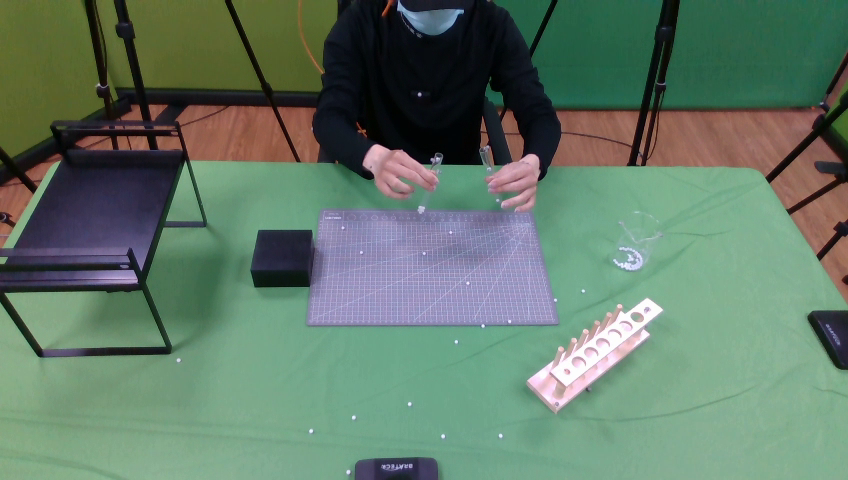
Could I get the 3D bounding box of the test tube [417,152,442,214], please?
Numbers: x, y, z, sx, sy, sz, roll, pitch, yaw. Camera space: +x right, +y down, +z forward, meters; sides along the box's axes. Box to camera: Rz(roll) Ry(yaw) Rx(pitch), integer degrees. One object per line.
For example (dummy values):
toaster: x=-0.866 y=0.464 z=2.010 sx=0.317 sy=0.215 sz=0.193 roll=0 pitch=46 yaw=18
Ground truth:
test tube: x=0.009 y=-0.105 z=1.139 sx=0.017 sy=0.151 sz=0.017 roll=9 pitch=46 yaw=-10

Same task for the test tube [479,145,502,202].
test tube: x=0.127 y=-0.121 z=1.139 sx=0.017 sy=0.151 sz=0.017 roll=-10 pitch=51 yaw=13

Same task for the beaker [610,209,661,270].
beaker: x=0.404 y=0.005 z=1.170 sx=0.074 sy=0.101 sz=0.083 roll=19 pitch=49 yaw=15

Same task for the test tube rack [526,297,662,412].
test tube rack: x=0.284 y=0.176 z=1.007 sx=0.242 sy=0.085 sz=0.066 roll=-29 pitch=54 yaw=-27
